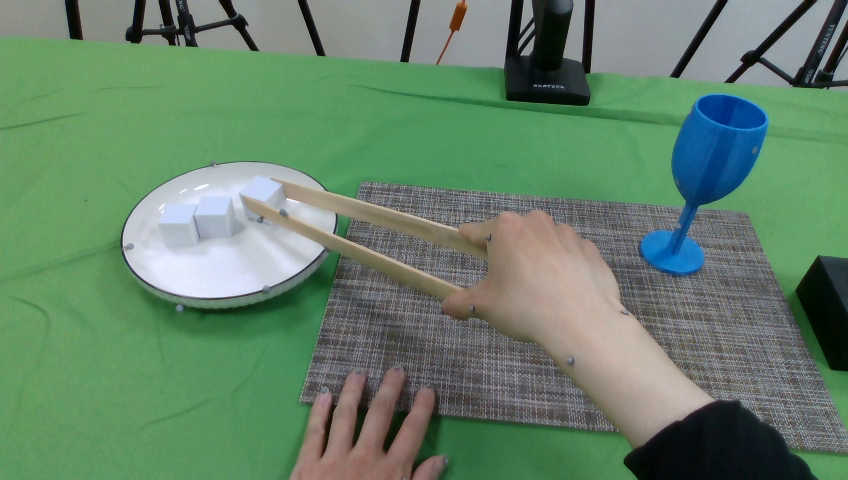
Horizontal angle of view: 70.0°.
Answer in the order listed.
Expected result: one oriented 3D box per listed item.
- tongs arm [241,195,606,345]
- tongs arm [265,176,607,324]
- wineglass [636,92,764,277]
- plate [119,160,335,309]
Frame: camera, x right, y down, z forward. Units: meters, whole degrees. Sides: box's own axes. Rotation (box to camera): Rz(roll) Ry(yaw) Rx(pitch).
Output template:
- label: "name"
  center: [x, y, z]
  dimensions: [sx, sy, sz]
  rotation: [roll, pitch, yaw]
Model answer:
- label: "tongs arm"
  center: [-0.030, 0.008, 0.525]
  dimensions: [0.381, 0.027, 0.050]
  rotation: [23, 54, 37]
- label: "tongs arm"
  center: [-0.016, -0.007, 0.537]
  dimensions: [0.384, 0.028, 0.028]
  rotation: [19, 48, 34]
- label: "wineglass"
  center: [0.261, -0.050, 0.587]
  dimensions: [0.074, 0.174, 0.073]
  rotation: [1, 43, -1]
- label: "plate"
  center: [-0.194, -0.006, 0.618]
  dimensions: [0.209, 0.038, 0.207]
  rotation: [2, 43, -1]
